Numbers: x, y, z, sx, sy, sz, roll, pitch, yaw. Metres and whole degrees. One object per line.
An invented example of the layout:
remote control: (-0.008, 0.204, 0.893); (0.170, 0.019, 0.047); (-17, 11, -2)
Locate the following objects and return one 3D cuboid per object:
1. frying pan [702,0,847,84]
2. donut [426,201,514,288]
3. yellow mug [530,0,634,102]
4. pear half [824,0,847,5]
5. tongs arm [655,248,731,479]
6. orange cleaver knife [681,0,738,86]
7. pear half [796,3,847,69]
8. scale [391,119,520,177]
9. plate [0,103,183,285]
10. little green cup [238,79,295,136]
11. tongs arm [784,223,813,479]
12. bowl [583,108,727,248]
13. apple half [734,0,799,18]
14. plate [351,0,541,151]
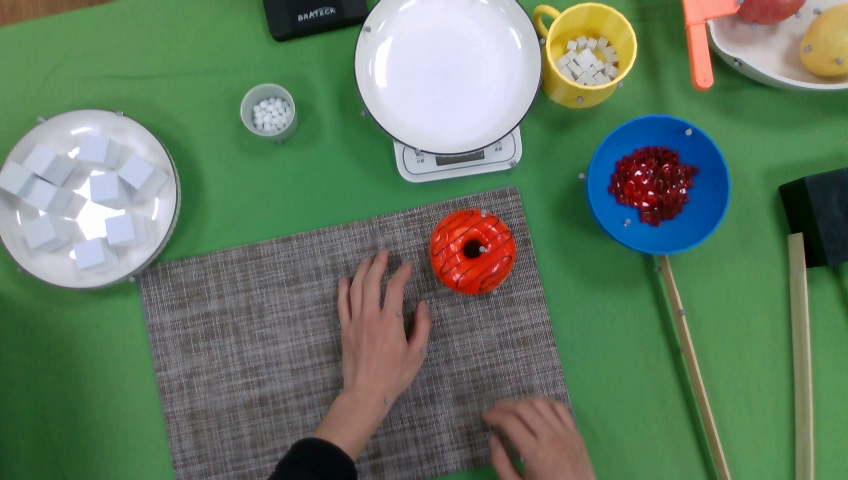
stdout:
frying pan: (0.500, -0.236, 0.677); (0.307, 0.103, 0.485); (-40, 78, -2)
donut: (0.051, 0.005, 0.680); (0.099, 0.048, 0.099); (0, 86, 2)
yellow mug: (0.170, -0.227, 0.694); (0.130, 0.064, 0.100); (44, 87, 5)
pear half: (0.480, -0.255, 0.681); (0.070, 0.088, 0.031); (18, 84, 8)
tongs arm: (0.329, 0.185, 0.673); (0.051, 0.026, 0.384); (-13, 86, -6)
orange cleaver knife: (0.304, -0.275, 0.662); (0.077, 0.012, 0.211); (-8, 85, 2)
pear half: (0.462, -0.226, 0.668); (0.076, 0.110, 0.056); (23, 85, 6)
scale: (0.027, -0.181, 0.707); (0.149, 0.031, 0.200); (-9, 85, -1)
plate: (-0.376, -0.051, 0.692); (0.208, 0.039, 0.207); (0, 85, 0)
little green cup: (-0.179, -0.151, 0.701); (0.061, 0.039, 0.061); (0, 84, 0)
tongs arm: (0.414, 0.174, 0.678); (0.028, 0.028, 0.386); (2, 85, -8)
bowl: (0.244, -0.062, 0.674); (0.151, 0.077, 0.151); (0, 85, 0)
apple half: (0.387, -0.285, 0.691); (0.081, 0.074, 0.053); (29, 89, 0)
plate: (0.024, -0.199, 0.676); (0.209, 0.038, 0.208); (0, 85, 0)
